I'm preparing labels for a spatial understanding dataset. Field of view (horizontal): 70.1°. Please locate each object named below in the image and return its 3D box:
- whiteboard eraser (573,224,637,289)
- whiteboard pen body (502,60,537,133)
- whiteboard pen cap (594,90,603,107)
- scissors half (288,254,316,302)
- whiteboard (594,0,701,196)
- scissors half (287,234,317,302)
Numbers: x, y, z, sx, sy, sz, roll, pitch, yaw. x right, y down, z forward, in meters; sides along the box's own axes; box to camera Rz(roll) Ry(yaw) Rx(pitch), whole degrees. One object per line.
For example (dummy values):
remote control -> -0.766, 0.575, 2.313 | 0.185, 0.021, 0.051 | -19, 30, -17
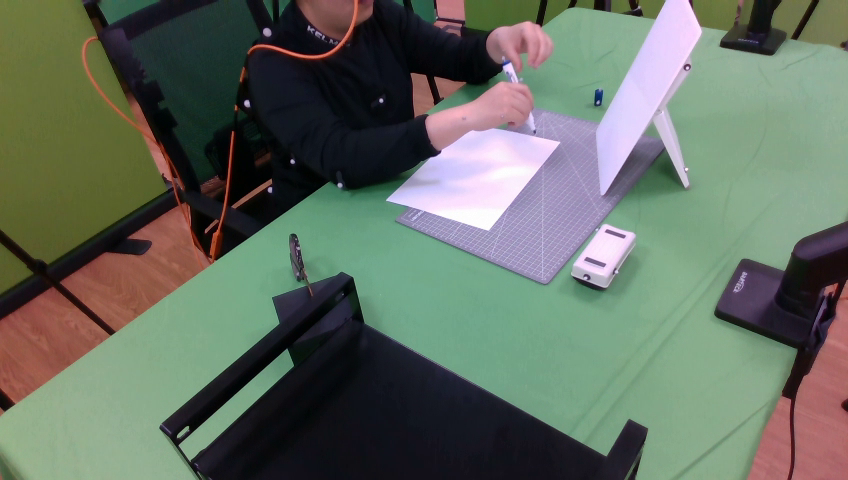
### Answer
whiteboard eraser -> 0.267, 0.025, 0.891 | 0.055, 0.042, 0.113 | 19, 47, 31
whiteboard pen body -> 0.174, -0.254, 1.079 | 0.017, 0.141, 0.017 | -25, 18, 9
whiteboard pen cap -> 0.364, -0.294, 1.262 | 0.018, 0.033, 0.018 | -6, 41, 6
scissors half -> -0.178, 0.058, 0.894 | 0.013, 0.040, 0.174 | -16, 20, -17
whiteboard -> 0.420, -0.227, 1.010 | 0.144, 0.305, 0.216 | 18, 42, -2
scissors half -> -0.179, 0.040, 0.885 | 0.013, 0.040, 0.173 | -11, 36, -20
